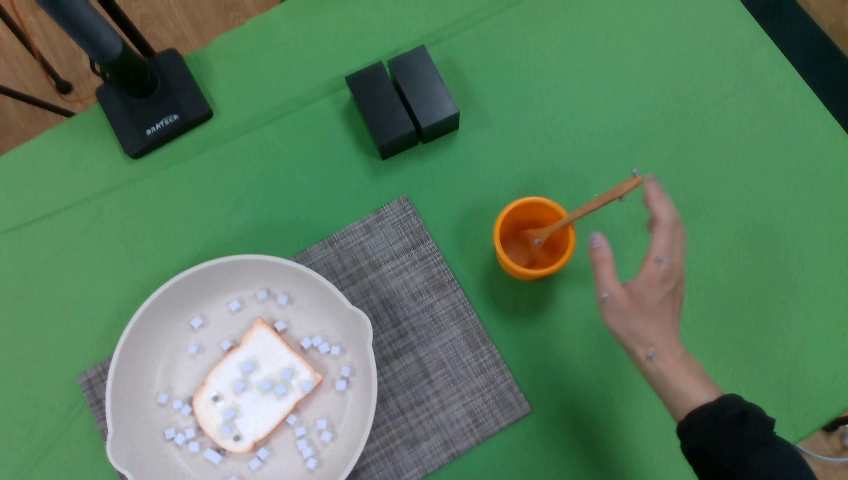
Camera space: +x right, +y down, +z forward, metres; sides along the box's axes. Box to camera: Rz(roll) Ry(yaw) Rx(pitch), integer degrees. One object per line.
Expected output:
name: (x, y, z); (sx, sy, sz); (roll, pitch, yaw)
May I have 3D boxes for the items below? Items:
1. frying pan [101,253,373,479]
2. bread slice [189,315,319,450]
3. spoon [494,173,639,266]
frying pan: (-0.153, 0.248, 0.640); (0.307, 0.103, 0.484); (-27, 70, -4)
bread slice: (-0.200, 0.171, 0.698); (0.106, 0.018, 0.134); (38, 79, 9)
spoon: (0.154, -0.021, 0.675); (0.022, 0.194, 0.041); (-10, 72, -47)
